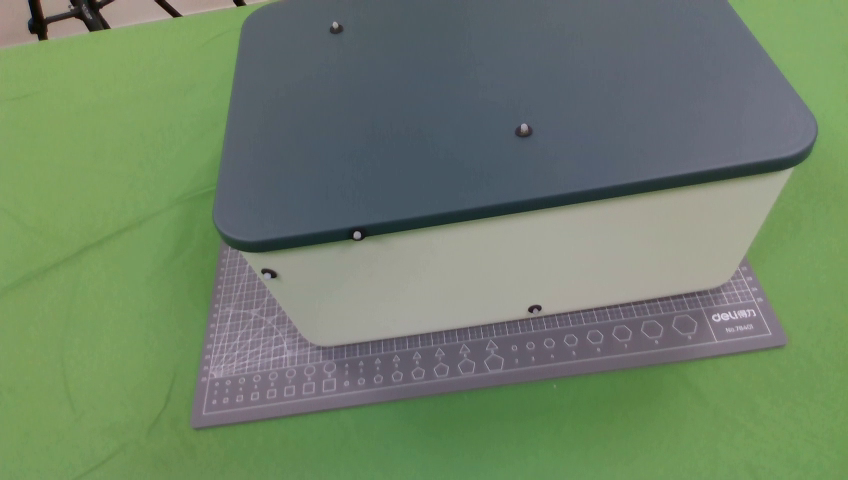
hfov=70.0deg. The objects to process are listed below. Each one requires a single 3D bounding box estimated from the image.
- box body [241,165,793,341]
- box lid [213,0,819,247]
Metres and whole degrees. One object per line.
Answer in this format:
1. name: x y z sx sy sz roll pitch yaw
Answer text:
1. box body: 0.053 -0.076 0.488 0.364 0.162 0.251 -9 51 2
2. box lid: 0.041 -0.122 0.430 0.371 0.015 0.260 -9 52 2
